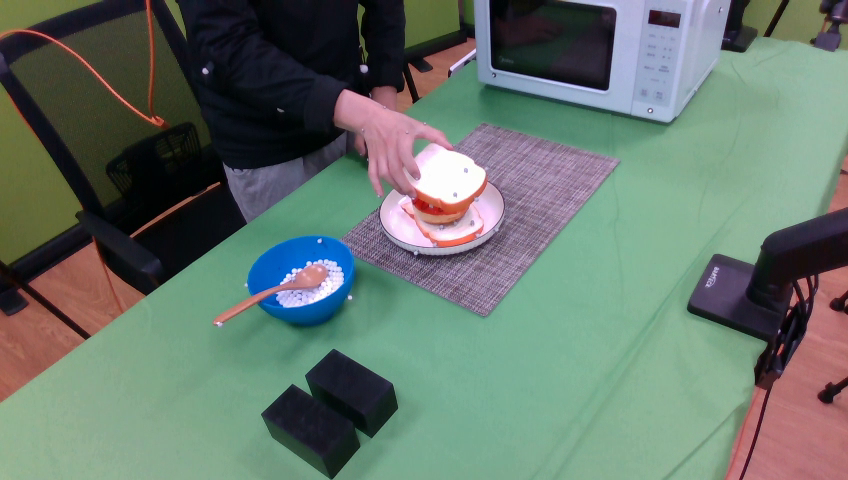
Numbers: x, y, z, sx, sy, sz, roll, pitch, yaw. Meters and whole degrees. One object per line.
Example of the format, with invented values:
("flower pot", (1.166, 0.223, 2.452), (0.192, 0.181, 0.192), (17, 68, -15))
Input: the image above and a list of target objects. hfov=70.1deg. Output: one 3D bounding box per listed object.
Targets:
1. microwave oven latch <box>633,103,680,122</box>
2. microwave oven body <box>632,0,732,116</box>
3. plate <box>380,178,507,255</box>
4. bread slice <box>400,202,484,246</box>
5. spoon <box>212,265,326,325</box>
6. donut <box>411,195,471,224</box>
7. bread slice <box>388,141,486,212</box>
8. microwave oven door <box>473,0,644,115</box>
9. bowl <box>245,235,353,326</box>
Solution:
("microwave oven latch", (0.444, -0.249, 1.157), (0.078, 0.029, 0.030), (20, 48, 30))
("microwave oven body", (0.377, -0.462, 1.267), (0.438, 0.261, 0.327), (21, 48, 30))
("plate", (0.033, -0.042, 0.995), (0.207, 0.039, 0.206), (-4, 40, 4))
("bread slice", (0.037, -0.037, 0.991), (0.107, 0.018, 0.133), (-22, 42, -17))
("spoon", (-0.208, 0.072, 0.822), (0.041, 0.021, 0.195), (26, 28, 27))
("donut", (0.028, -0.064, 0.978), (0.099, 0.048, 0.098), (-4, 40, 4))
("bread slice", (0.027, -0.095, 0.897), (0.130, 0.019, 0.105), (32, 61, 29))
("microwave oven door", (0.257, -0.396, 1.199), (0.353, 0.245, 0.039), (21, 48, 29))
("bowl", (-0.170, 0.070, 0.868), (0.151, 0.077, 0.150), (-4, 41, 4))
